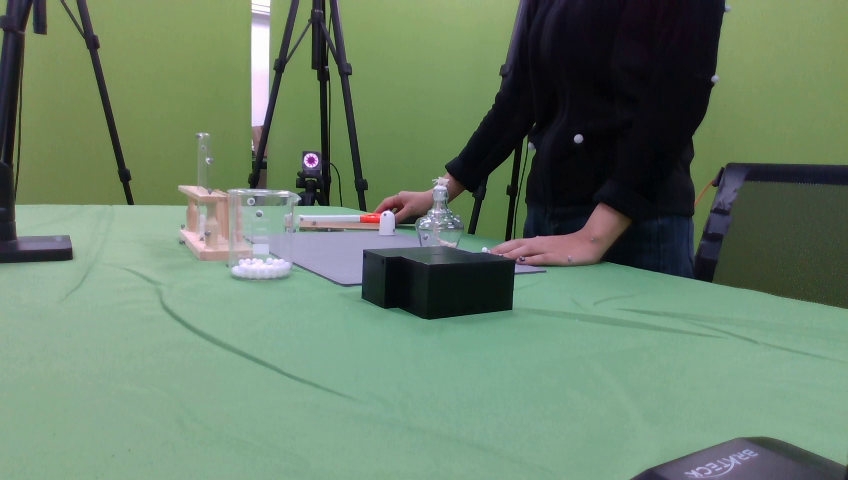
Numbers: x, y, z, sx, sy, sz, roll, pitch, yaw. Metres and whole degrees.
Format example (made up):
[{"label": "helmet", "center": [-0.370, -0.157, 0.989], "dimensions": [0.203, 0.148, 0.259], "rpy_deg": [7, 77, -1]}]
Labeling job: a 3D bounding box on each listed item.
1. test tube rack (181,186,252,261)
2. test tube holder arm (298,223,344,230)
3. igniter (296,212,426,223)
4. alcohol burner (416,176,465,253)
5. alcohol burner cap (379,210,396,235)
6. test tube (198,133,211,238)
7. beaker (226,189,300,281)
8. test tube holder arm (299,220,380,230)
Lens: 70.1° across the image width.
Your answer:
[{"label": "test tube rack", "center": [-0.312, -0.031, 0.893], "dimensions": [0.067, 0.085, 0.241], "rpy_deg": [-1, 8, -27]}, {"label": "test tube holder arm", "center": [-0.197, -0.026, 1.163], "dimensions": [0.088, 0.015, 0.010], "rpy_deg": [0, -27, -19]}, {"label": "igniter", "center": [-0.128, -0.047, 1.271], "dimensions": [0.278, 0.025, 0.057], "rpy_deg": [-2, 3, -25]}, {"label": "alcohol burner", "center": [0.025, -0.040, 0.935], "dimensions": [0.078, 0.119, 0.078], "rpy_deg": [1, 6, 0]}, {"label": "alcohol burner cap", "center": [-0.067, -0.033, 1.129], "dimensions": [0.034, 0.048, 0.034], "rpy_deg": [1, 7, 0]}, {"label": "test tube", "center": [-0.316, -0.078, 0.871], "dimensions": [0.017, 0.150, 0.017], "rpy_deg": [2, 3, 0]}, {"label": "beaker", "center": [-0.184, -0.007, 0.694], "dimensions": [0.084, 0.100, 0.073], "rpy_deg": [-1, 8, -29]}, {"label": "test tube holder arm", "center": [-0.153, -0.028, 1.174], "dimensions": [0.179, 0.015, 0.013], "rpy_deg": [1, -27, -21]}]
